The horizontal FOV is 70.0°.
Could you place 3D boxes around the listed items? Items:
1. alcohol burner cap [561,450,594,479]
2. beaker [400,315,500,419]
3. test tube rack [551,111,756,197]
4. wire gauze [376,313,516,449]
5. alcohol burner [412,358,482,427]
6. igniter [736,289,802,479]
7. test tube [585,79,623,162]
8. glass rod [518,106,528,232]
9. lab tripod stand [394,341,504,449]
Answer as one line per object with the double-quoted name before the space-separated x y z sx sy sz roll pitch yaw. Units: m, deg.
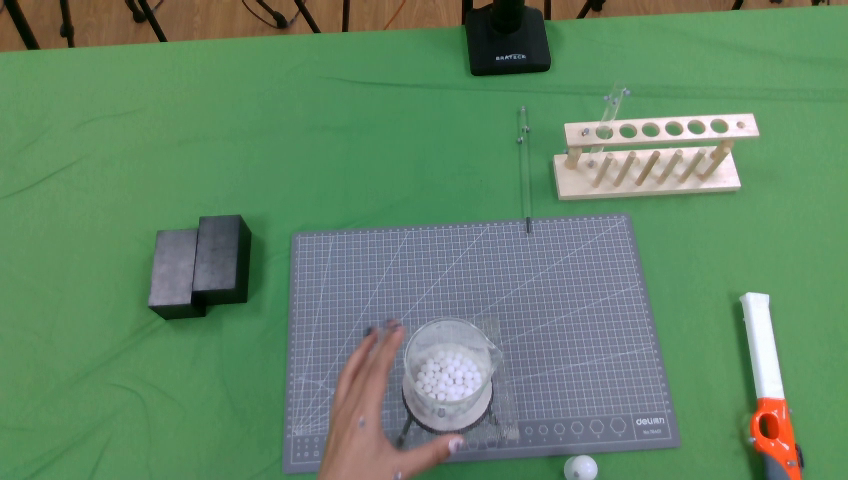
"alcohol burner cap" 0.171 0.247 0.663 0.034 0.048 0.033 0 65 1
"beaker" 0.022 0.118 0.543 0.084 0.101 0.073 -8 65 -3
"test tube rack" 0.299 -0.111 0.799 0.242 0.086 0.066 -3 65 -1
"wire gauze" 0.019 0.135 0.588 0.125 0.011 0.120 -7 64 0
"alcohol burner" 0.026 0.162 0.659 0.078 0.120 0.077 0 64 -1
"igniter" 0.395 0.189 0.695 0.057 0.025 0.274 8 66 -7
"test tube" 0.224 -0.146 0.761 0.017 0.151 0.017 -1 62 2
"glass rod" 0.137 -0.101 0.837 0.008 0.008 0.198 1 67 1
"lab tripod stand" 0.021 0.165 0.647 0.148 0.132 0.147 -1 65 2
